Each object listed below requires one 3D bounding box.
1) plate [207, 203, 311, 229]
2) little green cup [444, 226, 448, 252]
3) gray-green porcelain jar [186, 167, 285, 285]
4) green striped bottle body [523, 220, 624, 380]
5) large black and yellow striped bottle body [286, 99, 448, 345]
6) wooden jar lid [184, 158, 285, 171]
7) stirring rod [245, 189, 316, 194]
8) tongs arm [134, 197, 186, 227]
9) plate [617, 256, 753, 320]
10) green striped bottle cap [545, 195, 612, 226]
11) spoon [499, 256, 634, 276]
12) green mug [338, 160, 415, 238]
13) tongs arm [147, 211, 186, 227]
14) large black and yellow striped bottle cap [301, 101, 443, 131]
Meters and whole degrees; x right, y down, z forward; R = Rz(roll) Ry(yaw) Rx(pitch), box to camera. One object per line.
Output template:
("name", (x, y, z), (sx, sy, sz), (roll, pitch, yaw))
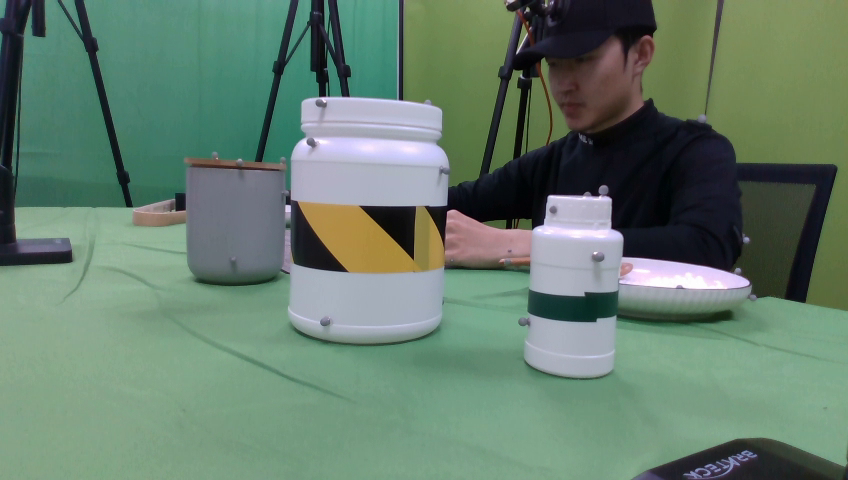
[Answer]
("plate", (-0.342, -0.050, 1.259), (0.208, 0.039, 0.207), (2, 7, 0))
("little green cup", (0.008, 0.000, 0.920), (0.061, 0.038, 0.061), (-4, 5, 1))
("gray-green porcelain jar", (-0.212, -0.017, 0.682), (0.106, 0.126, 0.106), (2, 7, 0))
("green striped bottle body", (0.104, 0.031, 0.421), (0.063, 0.119, 0.063), (2, 7, 0))
("large black and yellow striped bottle body", (-0.047, -0.018, 0.501), (0.131, 0.184, 0.130), (2, 7, 0))
("wooden jar lid", (-0.210, -0.078, 0.674), (0.108, 0.020, 0.108), (5, 6, 0))
("stirring rod", (-0.351, -0.120, 1.489), (0.177, 0.014, 0.006), (-3, 6, -29))
("tongs arm", (-0.556, -0.066, 1.320), (0.051, 0.026, 0.384), (7, 7, -5))
("plate", (0.234, 0.049, 0.650), (0.209, 0.038, 0.209), (2, 7, 0))
("green striped bottle cap", (0.106, -0.020, 0.414), (0.044, 0.020, 0.044), (2, 4, 0))
("spoon", (0.162, 0.027, 0.679), (0.195, 0.021, 0.041), (8, 3, -30))
("green mug", (-0.072, -0.069, 0.985), (0.092, 0.105, 0.125), (44, 22, -1))
("tongs arm", (-0.478, -0.059, 1.321), (0.028, 0.028, 0.388), (12, 8, 7))
("large black and yellow striped bottle cap", (-0.042, -0.100, 0.491), (0.115, 0.019, 0.115), (1, 8, 0))
